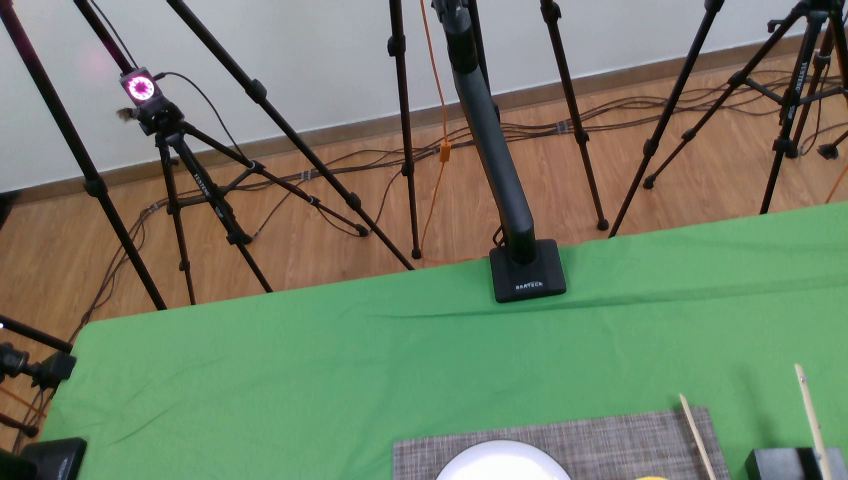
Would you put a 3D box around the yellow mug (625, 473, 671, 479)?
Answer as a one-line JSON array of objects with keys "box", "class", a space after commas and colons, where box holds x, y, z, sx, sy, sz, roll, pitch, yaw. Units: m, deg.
[{"box": [0.270, 0.356, 0.732, 0.099, 0.064, 0.130, 19, 59, 26], "class": "yellow mug"}]

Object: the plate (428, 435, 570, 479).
[{"box": [0.098, 0.362, 0.792, 0.207, 0.039, 0.205, -7, 51, 9], "class": "plate"}]

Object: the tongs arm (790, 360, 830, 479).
[{"box": [0.445, 0.323, 0.684, 0.050, 0.027, 0.381, -20, 51, 32], "class": "tongs arm"}]

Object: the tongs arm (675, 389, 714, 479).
[{"box": [0.381, 0.354, 0.725, 0.028, 0.028, 0.383, -28, 46, 20], "class": "tongs arm"}]
